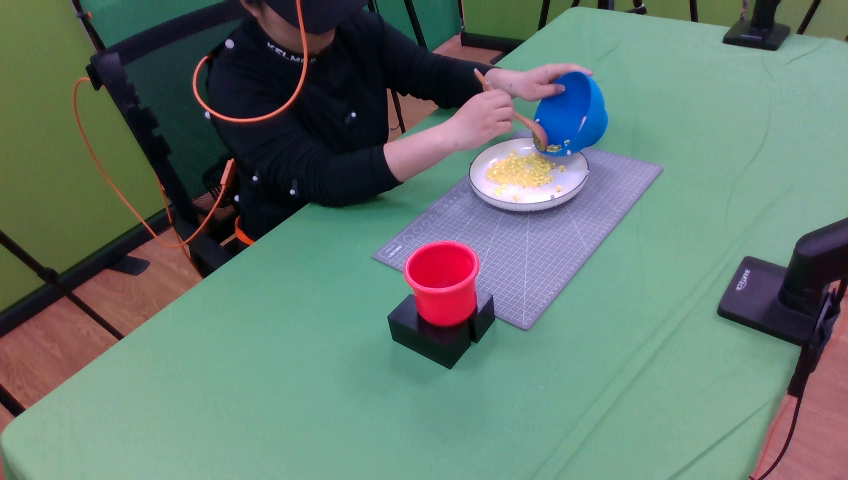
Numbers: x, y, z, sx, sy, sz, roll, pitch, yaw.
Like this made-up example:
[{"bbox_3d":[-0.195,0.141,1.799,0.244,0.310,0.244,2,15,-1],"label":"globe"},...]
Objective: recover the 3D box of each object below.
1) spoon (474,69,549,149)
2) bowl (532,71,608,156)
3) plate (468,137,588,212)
[{"bbox_3d":[0.153,-0.225,1.043,0.021,0.195,0.041,-40,25,33],"label":"spoon"},{"bbox_3d":[0.268,-0.210,1.061,0.077,0.151,0.150,15,32,-27],"label":"bowl"},{"bbox_3d":[0.182,-0.112,1.064,0.207,0.039,0.206,-5,40,5],"label":"plate"}]
